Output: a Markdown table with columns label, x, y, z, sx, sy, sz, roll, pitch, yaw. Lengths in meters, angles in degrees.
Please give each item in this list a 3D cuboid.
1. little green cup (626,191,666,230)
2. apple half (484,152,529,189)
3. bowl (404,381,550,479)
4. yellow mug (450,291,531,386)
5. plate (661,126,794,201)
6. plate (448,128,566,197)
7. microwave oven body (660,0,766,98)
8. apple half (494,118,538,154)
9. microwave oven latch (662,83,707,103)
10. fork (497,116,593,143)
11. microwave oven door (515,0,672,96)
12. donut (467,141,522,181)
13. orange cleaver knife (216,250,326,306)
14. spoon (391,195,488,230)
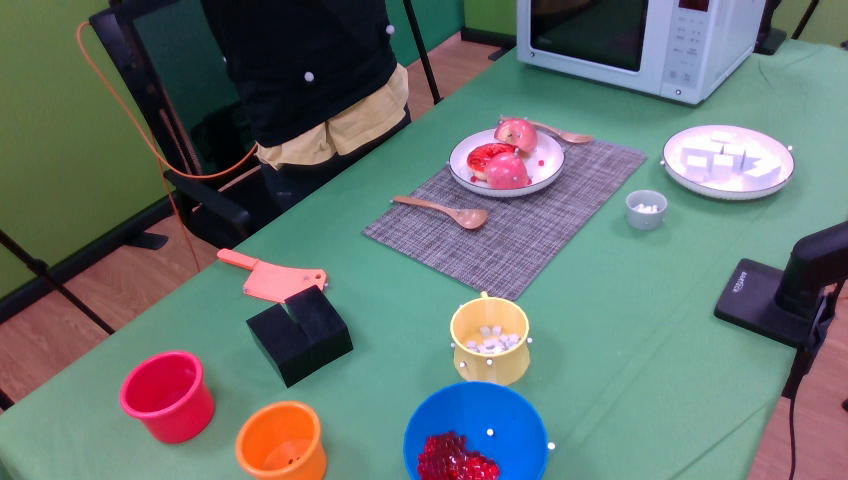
| label | x | y | z | sx | sy | sz | roll | pitch | yaw |
| --- | --- | --- | --- | --- | --- | --- | --- | --- | --- |
| little green cup | 0.352 | -0.046 | 0.963 | 0.061 | 0.039 | 0.061 | -4 | 40 | 4 |
| apple half | 0.144 | -0.116 | 1.032 | 0.081 | 0.033 | 0.081 | 3 | 78 | -11 |
| bowl | 0.058 | 0.235 | 0.645 | 0.151 | 0.077 | 0.150 | -4 | 39 | 4 |
| yellow mug | 0.085 | 0.120 | 0.786 | 0.100 | 0.064 | 0.130 | -7 | 39 | 1 |
| plate | 0.513 | -0.128 | 1.035 | 0.207 | 0.039 | 0.206 | -4 | 40 | 4 |
| plate | 0.150 | -0.138 | 1.096 | 0.209 | 0.038 | 0.208 | -4 | 40 | 4 |
| microwave oven body | 0.472 | -0.513 | 1.317 | 0.438 | 0.261 | 0.327 | 26 | 51 | 34 |
| apple half | 0.175 | -0.196 | 1.114 | 0.080 | 0.053 | 0.075 | 29 | 12 | 34 |
| microwave oven latch | 0.517 | -0.296 | 1.204 | 0.078 | 0.029 | 0.030 | 27 | 52 | 35 |
| fork | 0.235 | -0.221 | 1.195 | 0.206 | 0.019 | 0.028 | 23 | 56 | 29 |
| microwave oven door | 0.343 | -0.454 | 1.259 | 0.353 | 0.245 | 0.039 | 26 | 51 | 33 |
| donut | 0.127 | -0.145 | 1.091 | 0.099 | 0.048 | 0.098 | -6 | 39 | 5 |
| orange cleaver knife | -0.248 | 0.058 | 0.945 | 0.210 | 0.012 | 0.077 | 12 | 49 | 20 |
| spoon | 0.023 | -0.054 | 1.029 | 0.192 | 0.022 | 0.041 | 18 | 72 | 26 |
